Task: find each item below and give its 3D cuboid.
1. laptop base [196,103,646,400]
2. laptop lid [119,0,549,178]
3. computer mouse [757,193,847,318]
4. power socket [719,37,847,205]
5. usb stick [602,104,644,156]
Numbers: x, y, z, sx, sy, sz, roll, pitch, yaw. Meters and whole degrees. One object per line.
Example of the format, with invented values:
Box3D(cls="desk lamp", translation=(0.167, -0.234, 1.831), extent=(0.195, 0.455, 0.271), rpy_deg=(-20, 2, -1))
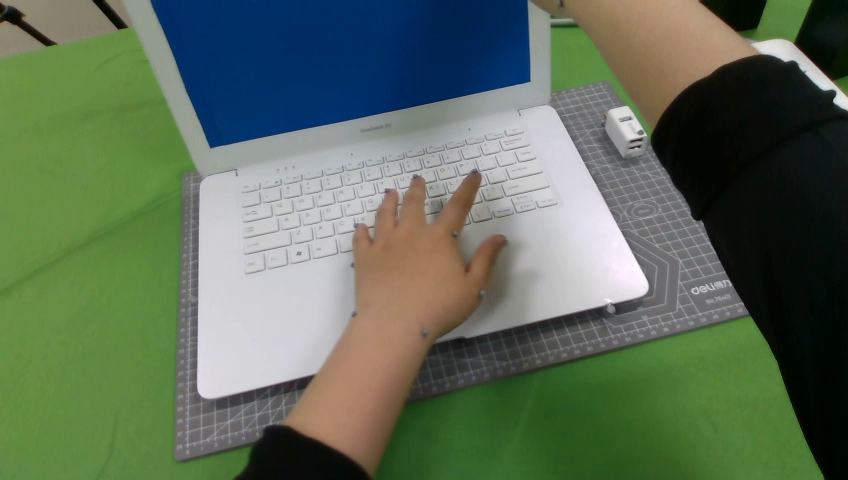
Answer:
Box3D(cls="laptop base", translation=(-0.020, -0.006, 0.529), extent=(0.354, 0.023, 0.233), rpy_deg=(-13, 55, -4))
Box3D(cls="laptop lid", translation=(-0.062, -0.185, 0.526), extent=(0.357, 0.244, 0.013), rpy_deg=(-14, 39, -3))
Box3D(cls="computer mouse", translation=(0.320, 0.005, 0.470), extent=(0.063, 0.041, 0.116), rpy_deg=(-19, 48, -5))
Box3D(cls="power socket", translation=(0.358, -0.117, 0.564), extent=(0.072, 0.033, 0.224), rpy_deg=(-13, 51, -2))
Box3D(cls="usb stick", translation=(0.187, -0.110, 0.579), extent=(0.021, 0.027, 0.058), rpy_deg=(-13, 50, -2))
